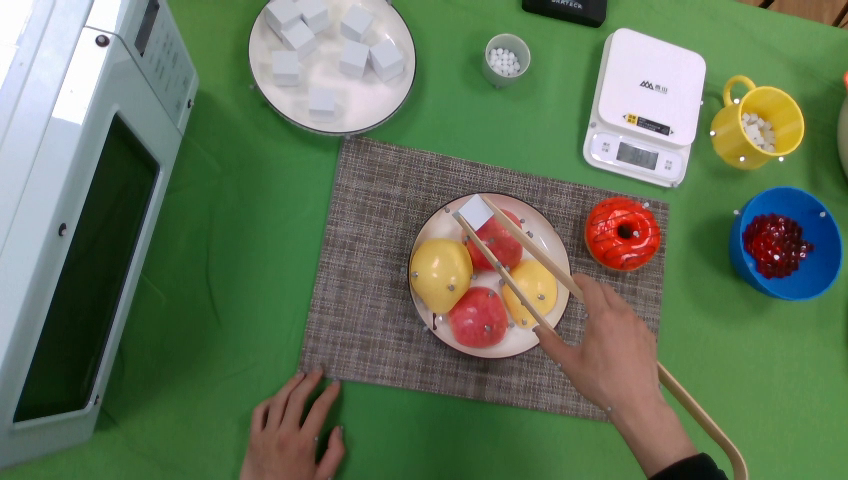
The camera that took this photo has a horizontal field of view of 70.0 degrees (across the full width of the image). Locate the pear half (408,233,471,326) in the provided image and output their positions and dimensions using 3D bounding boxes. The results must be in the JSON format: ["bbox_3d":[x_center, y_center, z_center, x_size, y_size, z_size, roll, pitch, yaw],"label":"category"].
[{"bbox_3d":[0.020,0.047,0.719,0.077,0.056,0.109,5,82,-18],"label":"pear half"}]

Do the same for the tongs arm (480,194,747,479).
[{"bbox_3d":[0.184,0.092,0.628,0.028,0.028,0.385,-35,72,-19],"label":"tongs arm"}]

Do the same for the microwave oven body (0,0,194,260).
[{"bbox_3d":[-0.453,-0.056,0.563,0.327,0.260,0.440,13,79,-8],"label":"microwave oven body"}]

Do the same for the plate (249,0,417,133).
[{"bbox_3d":[-0.114,-0.232,0.770,0.208,0.039,0.207,2,80,-10],"label":"plate"}]

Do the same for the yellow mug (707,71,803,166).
[{"bbox_3d":[0.453,-0.175,0.845,0.100,0.064,0.130,-22,84,-12],"label":"yellow mug"}]

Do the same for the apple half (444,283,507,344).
[{"bbox_3d":[0.065,0.088,0.734,0.081,0.033,0.081,3,73,-10],"label":"apple half"}]

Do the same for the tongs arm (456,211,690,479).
[{"bbox_3d":[0.165,0.106,0.622,0.051,0.027,0.382,-33,72,-14],"label":"tongs arm"}]

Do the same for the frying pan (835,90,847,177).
[{"bbox_3d":[0.762,-0.052,0.858,0.307,0.103,0.485,-16,75,-11],"label":"frying pan"}]

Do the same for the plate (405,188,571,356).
[{"bbox_3d":[0.078,0.039,0.753,0.210,0.038,0.208,2,80,-10],"label":"plate"}]

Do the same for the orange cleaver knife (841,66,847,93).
[{"bbox_3d":[0.615,-0.149,0.829,0.077,0.012,0.210,1,81,-13],"label":"orange cleaver knife"}]

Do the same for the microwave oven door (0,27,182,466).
[{"bbox_3d":[-0.319,0.017,0.568,0.039,0.244,0.354,13,78,-7],"label":"microwave oven door"}]

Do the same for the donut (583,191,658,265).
[{"bbox_3d":[0.255,-0.015,0.790,0.099,0.048,0.098,1,80,-7],"label":"donut"}]

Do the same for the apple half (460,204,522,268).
[{"bbox_3d":[0.084,-0.007,0.745,0.075,0.053,0.080,-2,84,-7],"label":"apple half"}]

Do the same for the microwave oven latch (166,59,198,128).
[{"bbox_3d":[-0.289,-0.174,0.711,0.030,0.029,0.079,15,79,-7],"label":"microwave oven latch"}]

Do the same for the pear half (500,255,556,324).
[{"bbox_3d":[0.130,0.060,0.753,0.070,0.031,0.087,9,76,6],"label":"pear half"}]

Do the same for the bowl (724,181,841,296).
[{"bbox_3d":[0.460,0.004,0.810,0.152,0.077,0.151,2,81,-9],"label":"bowl"}]

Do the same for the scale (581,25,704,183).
[{"bbox_3d":[0.304,-0.188,0.839,0.149,0.031,0.200,15,79,-6],"label":"scale"}]

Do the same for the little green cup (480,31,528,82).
[{"bbox_3d":[0.104,-0.243,0.810,0.062,0.038,0.061,2,79,-9],"label":"little green cup"}]
